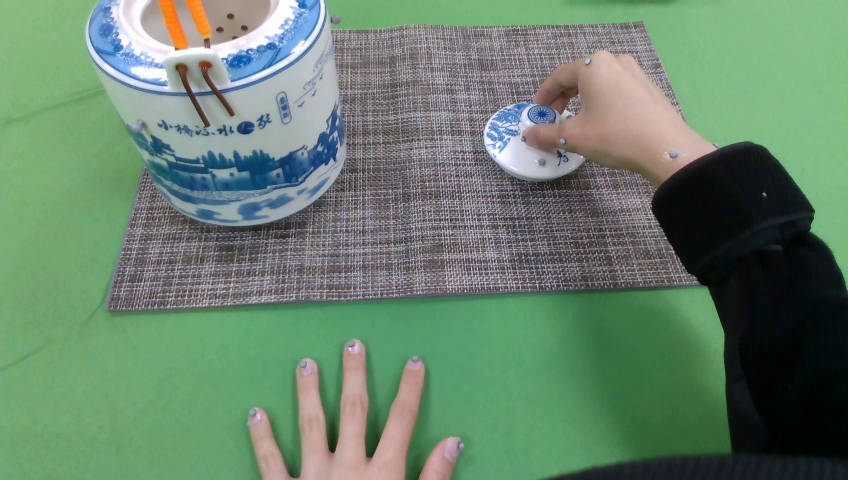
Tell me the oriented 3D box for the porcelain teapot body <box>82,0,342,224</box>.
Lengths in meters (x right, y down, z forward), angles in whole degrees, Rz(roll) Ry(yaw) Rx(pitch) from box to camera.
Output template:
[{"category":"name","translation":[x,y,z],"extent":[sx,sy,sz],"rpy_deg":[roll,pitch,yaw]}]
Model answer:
[{"category":"porcelain teapot body","translation":[-0.138,-0.146,0.406],"extent":[0.145,0.227,0.203],"rpy_deg":[-8,55,-7]}]

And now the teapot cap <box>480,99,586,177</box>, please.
[{"category":"teapot cap","translation":[0.087,-0.087,0.482],"extent":[0.085,0.044,0.084],"rpy_deg":[-1,54,2]}]
